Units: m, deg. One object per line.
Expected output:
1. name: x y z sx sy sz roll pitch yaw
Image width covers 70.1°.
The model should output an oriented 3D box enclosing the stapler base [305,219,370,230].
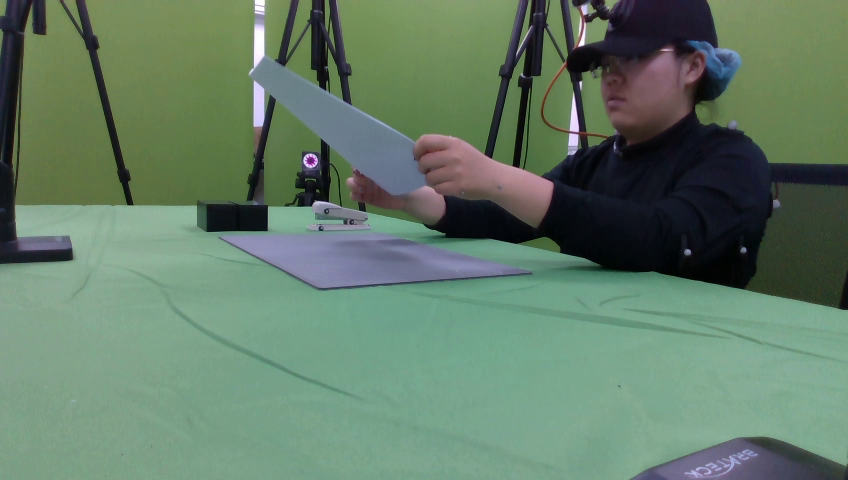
1. stapler base: -0.173 -0.033 1.215 0.131 0.024 0.041 1 9 -35

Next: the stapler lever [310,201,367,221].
1. stapler lever: -0.171 -0.057 1.214 0.119 0.040 0.026 -1 10 -34
